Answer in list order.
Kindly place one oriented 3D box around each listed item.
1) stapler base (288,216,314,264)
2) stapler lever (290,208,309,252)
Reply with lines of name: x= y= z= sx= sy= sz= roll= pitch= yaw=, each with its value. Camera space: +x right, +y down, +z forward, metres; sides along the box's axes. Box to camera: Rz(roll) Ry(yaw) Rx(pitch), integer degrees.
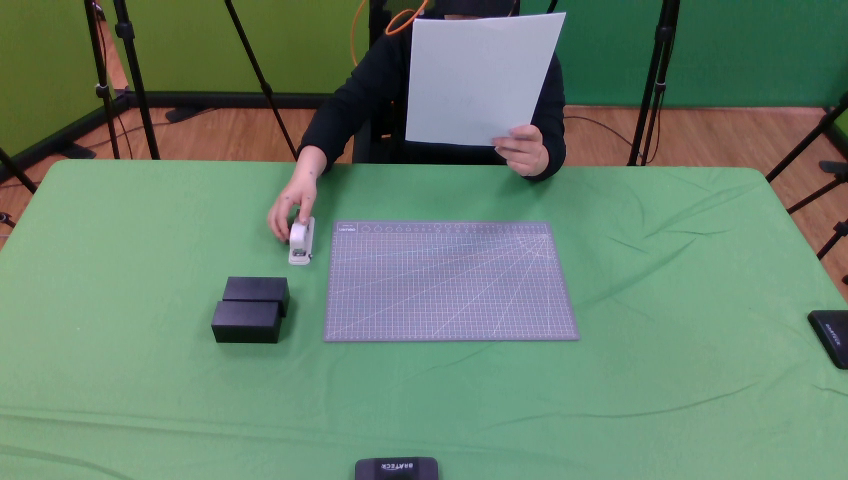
stapler base: x=-0.240 y=-0.007 z=1.185 sx=0.041 sy=0.024 sz=0.129 roll=1 pitch=44 yaw=-5
stapler lever: x=-0.240 y=-0.026 z=1.168 sx=0.027 sy=0.040 sz=0.117 roll=1 pitch=44 yaw=-5
